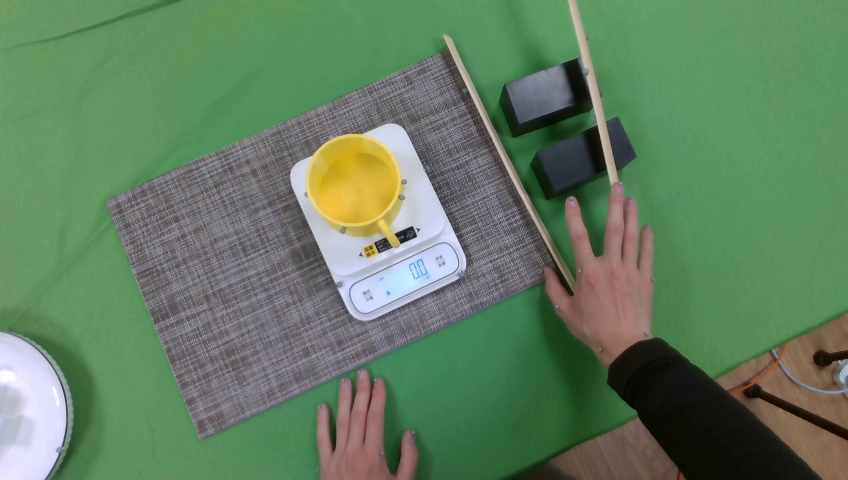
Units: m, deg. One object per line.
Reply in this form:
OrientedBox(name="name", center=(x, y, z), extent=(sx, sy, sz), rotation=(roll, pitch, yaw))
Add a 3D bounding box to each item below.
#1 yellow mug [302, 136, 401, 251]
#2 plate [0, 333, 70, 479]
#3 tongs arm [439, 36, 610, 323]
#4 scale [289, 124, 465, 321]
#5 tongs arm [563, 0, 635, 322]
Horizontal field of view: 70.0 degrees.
OrientedBox(name="yellow mug", center=(-0.067, -0.043, 0.654), extent=(0.100, 0.064, 0.130), rotation=(-35, 85, -5))
OrientedBox(name="plate", center=(-0.493, 0.205, 0.671), extent=(0.208, 0.039, 0.207), rotation=(0, 83, 0))
OrientedBox(name="tongs arm", center=(0.111, -0.074, 0.708), extent=(0.028, 0.028, 0.386), rotation=(-30, 83, 21))
OrientedBox(name="scale", center=(-0.055, -0.021, 0.699), extent=(0.149, 0.031, 0.200), rotation=(-25, 84, -3))
OrientedBox(name="tongs arm", center=(0.179, -0.101, 0.671), extent=(0.050, 0.026, 0.384), rotation=(-15, 89, 25))
